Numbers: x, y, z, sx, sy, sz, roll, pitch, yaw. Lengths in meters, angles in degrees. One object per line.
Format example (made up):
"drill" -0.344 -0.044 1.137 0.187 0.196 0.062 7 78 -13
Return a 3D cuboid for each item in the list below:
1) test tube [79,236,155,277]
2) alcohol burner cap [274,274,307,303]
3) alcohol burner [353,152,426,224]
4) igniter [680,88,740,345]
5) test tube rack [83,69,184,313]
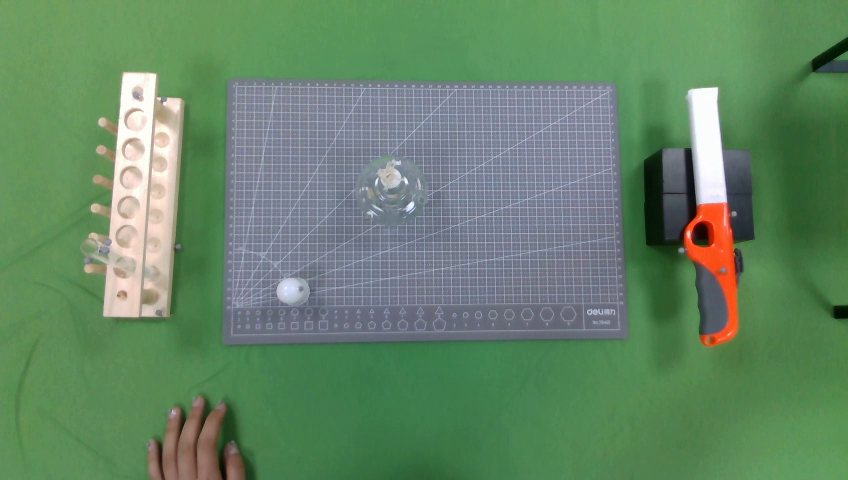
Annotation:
"test tube" -0.287 0.017 0.574 0.017 0.150 0.017 1 78 -6
"alcohol burner cap" -0.145 0.051 0.648 0.034 0.048 0.034 0 84 -4
"alcohol burner" -0.036 -0.057 0.631 0.078 0.119 0.077 0 85 -3
"igniter" 0.303 -0.027 0.648 0.057 0.025 0.275 -2 83 8
"test tube rack" -0.305 -0.046 0.629 0.067 0.085 0.241 2 84 -3
